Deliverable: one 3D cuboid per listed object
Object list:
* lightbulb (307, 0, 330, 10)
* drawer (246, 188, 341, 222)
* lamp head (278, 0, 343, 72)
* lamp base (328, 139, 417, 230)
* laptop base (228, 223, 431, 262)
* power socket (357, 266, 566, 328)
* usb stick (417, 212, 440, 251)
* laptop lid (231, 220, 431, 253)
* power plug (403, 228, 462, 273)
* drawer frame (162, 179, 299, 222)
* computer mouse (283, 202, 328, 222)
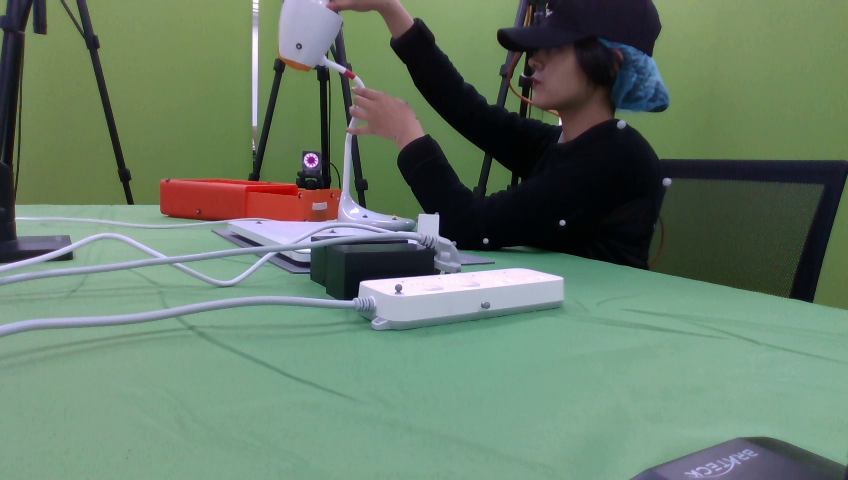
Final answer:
[{"bbox_3d":[-0.214,-0.400,1.117,0.059,0.107,0.059,26,10,-5],"label":"lightbulb"},{"bbox_3d":[-0.312,-0.078,1.296,0.211,0.073,0.195,4,9,17],"label":"drawer"},{"bbox_3d":[-0.218,-0.375,1.125,0.112,0.123,0.112,17,10,-3],"label":"lamp head"},{"bbox_3d":[-0.104,-0.112,1.212,0.180,0.180,0.160,-2,7,-15],"label":"lamp base"},{"bbox_3d":[-0.145,0.002,0.942,0.237,0.023,0.352,2,6,-32],"label":"laptop base"},{"bbox_3d":[0.042,0.049,0.572,0.228,0.032,0.072,-3,8,-34],"label":"power socket"},{"bbox_3d":[0.005,-0.003,0.721,0.027,0.059,0.021,0,-3,-3],"label":"usb stick"},{"bbox_3d":[-0.142,-0.009,0.942,0.243,0.013,0.355,1,7,-31],"label":"laptop lid"},{"bbox_3d":[0.006,0.016,0.647,0.073,0.052,0.035,17,12,-6],"label":"power plug"},{"bbox_3d":[-0.418,-0.089,1.328,0.213,0.082,0.202,4,8,18],"label":"drawer frame"},{"bbox_3d":[-0.251,-0.060,1.287,0.063,0.041,0.117,3,4,11],"label":"computer mouse"}]
